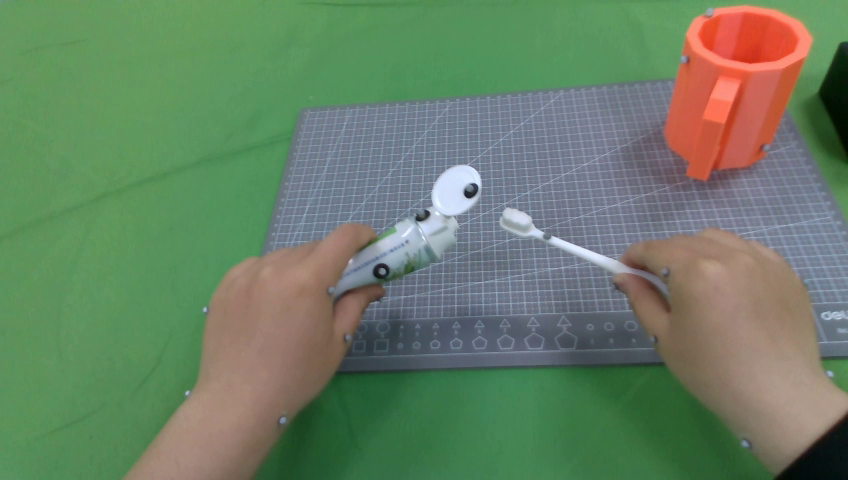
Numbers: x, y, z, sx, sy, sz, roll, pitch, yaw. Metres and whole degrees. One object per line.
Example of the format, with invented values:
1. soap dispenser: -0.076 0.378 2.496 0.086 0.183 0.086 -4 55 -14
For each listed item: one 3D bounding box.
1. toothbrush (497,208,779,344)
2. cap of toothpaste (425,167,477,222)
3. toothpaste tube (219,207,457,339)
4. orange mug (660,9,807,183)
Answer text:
1. toothbrush: 0.128 0.020 0.378 0.181 0.017 0.014 25 51 17
2. cap of toothpaste: 0.018 -0.028 0.377 0.037 0.011 0.037 -18 57 30
3. toothpaste tube: -0.052 0.026 0.397 0.165 0.055 0.034 -29 73 3
4. orange mug: 0.234 -0.107 0.477 0.083 0.102 0.126 20 52 24
